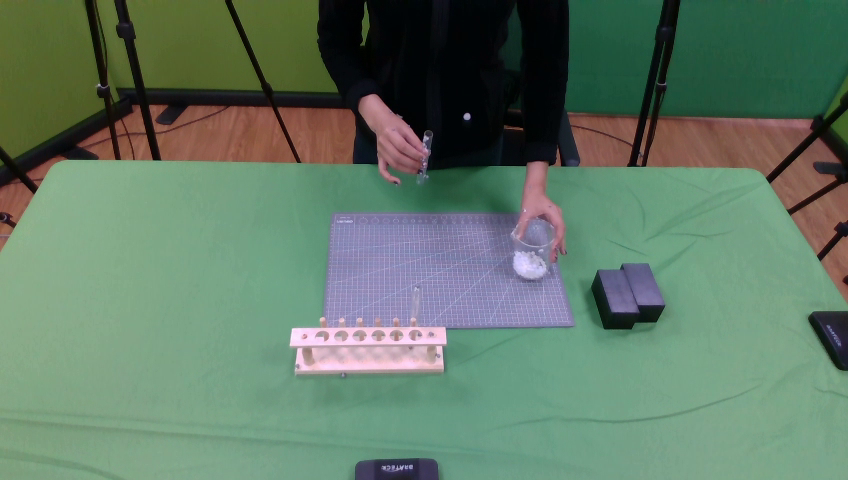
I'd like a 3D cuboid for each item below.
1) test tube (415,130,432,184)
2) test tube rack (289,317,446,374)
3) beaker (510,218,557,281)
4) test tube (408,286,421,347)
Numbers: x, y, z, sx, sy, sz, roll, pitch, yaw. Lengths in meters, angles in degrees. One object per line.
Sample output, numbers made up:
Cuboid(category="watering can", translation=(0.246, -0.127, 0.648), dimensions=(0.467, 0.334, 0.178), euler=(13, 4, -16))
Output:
Cuboid(category="test tube", translation=(-0.002, -0.146, 1.098), dimensions=(0.017, 0.151, 0.017), euler=(3, 61, -6))
Cuboid(category="test tube rack", translation=(-0.089, 0.167, 0.987), dimensions=(0.242, 0.085, 0.066), euler=(0, 46, -4))
Cuboid(category="beaker", translation=(0.199, 0.021, 1.127), dimensions=(0.084, 0.101, 0.073), euler=(-5, 46, -2))
Cuboid(category="test tube", translation=(-0.016, 0.124, 0.973), dimensions=(0.017, 0.151, 0.017), euler=(3, 46, -2))
